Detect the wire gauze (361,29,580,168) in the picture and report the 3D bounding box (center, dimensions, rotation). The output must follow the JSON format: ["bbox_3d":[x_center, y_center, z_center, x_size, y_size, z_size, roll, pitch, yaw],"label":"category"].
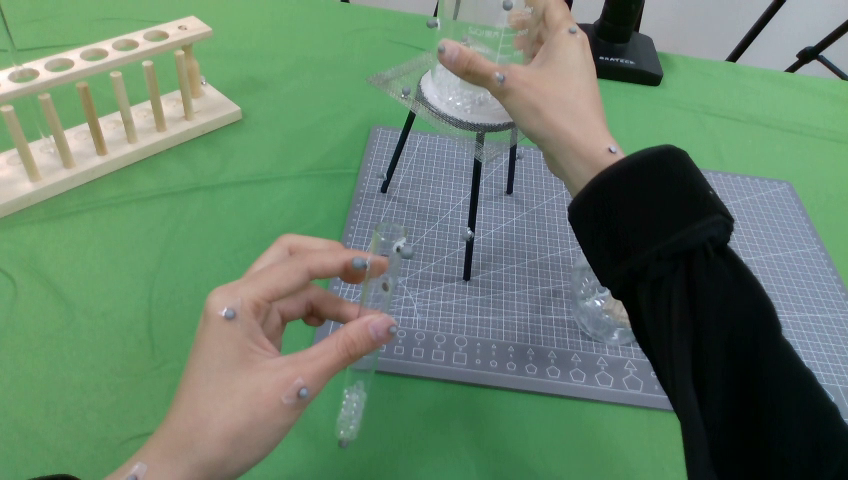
[{"bbox_3d":[0.036,-0.116,0.453,0.124,0.011,0.121,41,56,22],"label":"wire gauze"}]

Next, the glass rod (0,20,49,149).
[{"bbox_3d":[-0.334,-0.160,0.478,0.008,0.201,0.008,2,39,-1],"label":"glass rod"}]

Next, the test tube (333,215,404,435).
[{"bbox_3d":[-0.031,0.052,0.314,0.017,0.151,0.017,10,35,-7],"label":"test tube"}]

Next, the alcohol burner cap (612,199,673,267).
[{"bbox_3d":[0.154,-0.007,0.420,0.034,0.048,0.033,4,49,-4],"label":"alcohol burner cap"}]

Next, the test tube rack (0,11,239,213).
[{"bbox_3d":[-0.292,-0.119,0.537,0.066,0.086,0.242,38,52,25],"label":"test tube rack"}]

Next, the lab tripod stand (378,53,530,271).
[{"bbox_3d":[0.032,-0.070,0.500,0.148,0.132,0.147,5,47,-5],"label":"lab tripod stand"}]

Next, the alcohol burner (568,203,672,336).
[{"bbox_3d":[0.150,0.017,0.447,0.078,0.120,0.077,5,45,-5],"label":"alcohol burner"}]

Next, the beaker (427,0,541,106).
[{"bbox_3d":[0.038,-0.152,0.419,0.084,0.101,0.073,4,47,-4],"label":"beaker"}]
